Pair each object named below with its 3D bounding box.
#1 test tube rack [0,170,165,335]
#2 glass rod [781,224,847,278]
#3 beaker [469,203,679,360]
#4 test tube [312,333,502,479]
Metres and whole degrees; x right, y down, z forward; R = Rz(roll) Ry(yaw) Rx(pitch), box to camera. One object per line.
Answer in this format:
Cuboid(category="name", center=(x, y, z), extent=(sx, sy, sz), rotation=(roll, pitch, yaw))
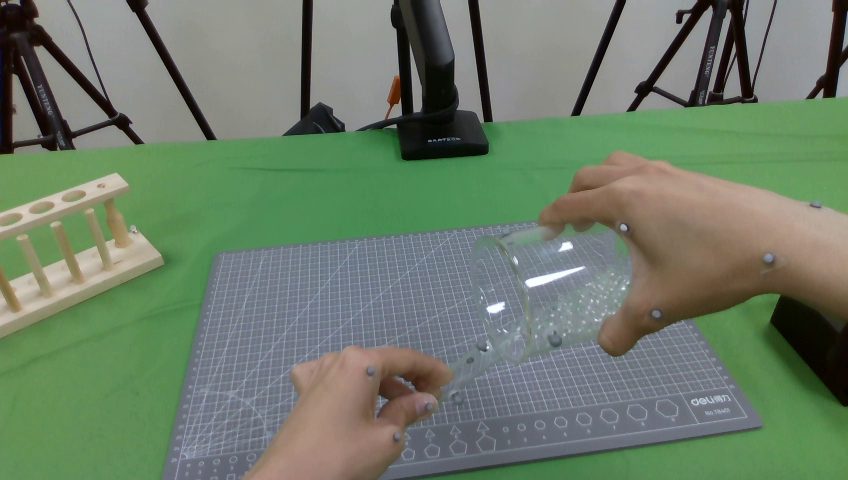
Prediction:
Cuboid(category="test tube rack", center=(-0.385, 0.025, 0.569), extent=(0.242, 0.086, 0.066), rotation=(-29, 45, -32))
Cuboid(category="glass rod", center=(0.371, 0.042, 0.502), extent=(0.008, 0.008, 0.197), rotation=(-12, 38, -13))
Cuboid(category="beaker", center=(0.086, 0.022, 0.351), extent=(0.100, 0.085, 0.073), rotation=(-13, 43, -15))
Cuboid(category="test tube", center=(-0.013, 0.107, 0.378), extent=(0.150, 0.017, 0.017), rotation=(-39, 37, 12))
